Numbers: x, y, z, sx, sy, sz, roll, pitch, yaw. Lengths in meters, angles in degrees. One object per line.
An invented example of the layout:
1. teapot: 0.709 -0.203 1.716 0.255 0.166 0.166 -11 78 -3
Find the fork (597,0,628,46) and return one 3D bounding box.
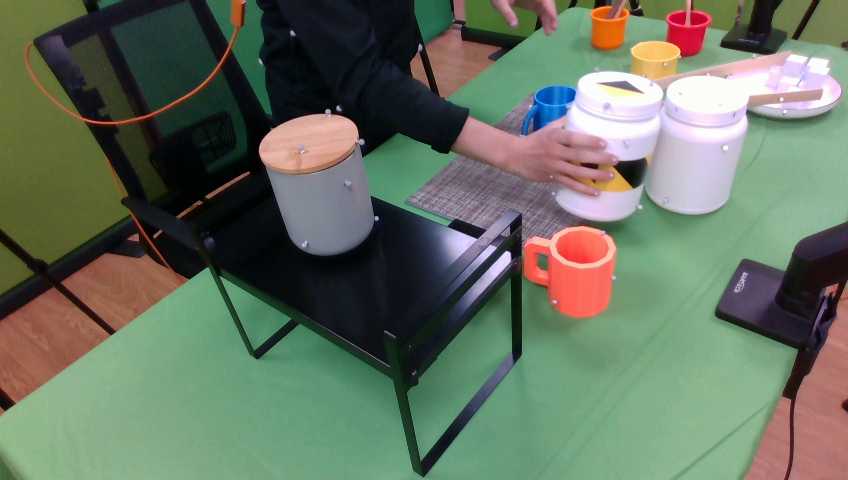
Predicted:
1. fork: 0.479 -0.558 1.455 0.028 0.019 0.207 35 100 38

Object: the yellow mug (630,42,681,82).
1. yellow mug: 0.495 -0.389 1.321 0.100 0.064 0.130 -14 40 -6

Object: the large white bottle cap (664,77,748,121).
1. large white bottle cap: 0.421 -0.212 0.905 0.115 0.018 0.114 -4 40 4

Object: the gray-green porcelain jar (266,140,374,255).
1. gray-green porcelain jar: -0.117 -0.054 0.703 0.106 0.127 0.105 -4 40 4

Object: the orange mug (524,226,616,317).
1. orange mug: 0.201 0.038 0.845 0.125 0.101 0.083 18 47 21

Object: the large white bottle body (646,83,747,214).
1. large white bottle body: 0.430 -0.148 0.959 0.130 0.185 0.130 -4 41 4

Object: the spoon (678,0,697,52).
1. spoon: 0.614 -0.526 1.402 0.041 0.022 0.193 3 86 11

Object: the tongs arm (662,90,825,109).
1. tongs arm: 0.546 -0.262 1.163 0.386 0.028 0.028 -1 50 18

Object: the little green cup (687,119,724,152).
1. little green cup: 0.514 -0.191 1.109 0.061 0.039 0.061 -5 40 5

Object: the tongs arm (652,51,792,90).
1. tongs arm: 0.552 -0.320 1.224 0.384 0.027 0.050 -11 44 7

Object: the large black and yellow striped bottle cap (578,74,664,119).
1. large black and yellow striped bottle cap: 0.274 -0.201 0.841 0.115 0.019 0.114 1 38 0

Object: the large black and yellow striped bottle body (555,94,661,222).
1. large black and yellow striped bottle body: 0.271 -0.135 0.891 0.131 0.184 0.130 1 37 -1

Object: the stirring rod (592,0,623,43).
1. stirring rod: 0.460 -0.557 1.461 0.014 0.176 0.006 35 11 22

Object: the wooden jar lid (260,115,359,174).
1. wooden jar lid: -0.124 -0.101 0.662 0.108 0.021 0.108 -4 41 4

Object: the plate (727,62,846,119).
1. plate: 0.709 -0.292 1.197 0.207 0.039 0.206 -4 40 4

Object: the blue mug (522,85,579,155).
1. blue mug: 0.233 -0.218 1.127 0.117 0.106 0.081 -23 43 -16
